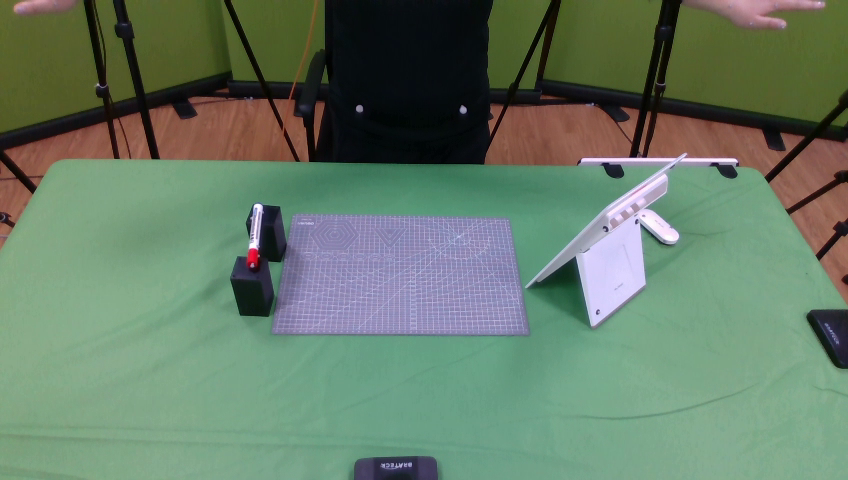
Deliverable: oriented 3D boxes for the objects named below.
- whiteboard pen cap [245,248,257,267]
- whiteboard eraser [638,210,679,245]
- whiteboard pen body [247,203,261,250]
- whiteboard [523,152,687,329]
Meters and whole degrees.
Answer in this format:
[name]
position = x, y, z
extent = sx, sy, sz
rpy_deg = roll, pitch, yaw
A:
[whiteboard pen cap]
position = -0.288, 0.028, 1.010
extent = 0.017, 0.017, 0.032
rpy_deg = -2, 45, -6
[whiteboard eraser]
position = 0.485, -0.027, 1.260
extent = 0.041, 0.019, 0.100
rpy_deg = -21, 50, -21
[whiteboard pen body]
position = -0.295, -0.014, 1.052
extent = 0.017, 0.017, 0.139
rpy_deg = -2, 45, -6
[whiteboard]
position = 0.346, 0.025, 1.046
extent = 0.217, 0.306, 0.143
rpy_deg = -30, 74, -29
